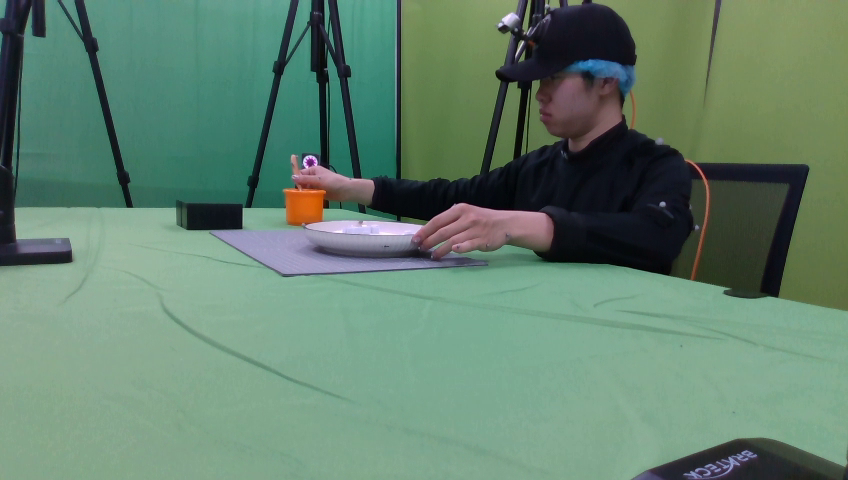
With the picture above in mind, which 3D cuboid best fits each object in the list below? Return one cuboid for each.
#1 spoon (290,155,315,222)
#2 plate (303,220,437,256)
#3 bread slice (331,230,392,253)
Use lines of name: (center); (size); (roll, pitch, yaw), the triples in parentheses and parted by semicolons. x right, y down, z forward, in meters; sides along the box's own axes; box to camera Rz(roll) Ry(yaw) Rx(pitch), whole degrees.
spoon: (-0.274, -0.116, 1.327); (0.042, 0.021, 0.193); (-5, 51, -23)
plate: (-0.084, -0.003, 0.951); (0.209, 0.038, 0.209); (3, 7, 0)
bread slice: (-0.088, 0.000, 0.947); (0.105, 0.019, 0.131); (-4, 11, -45)
